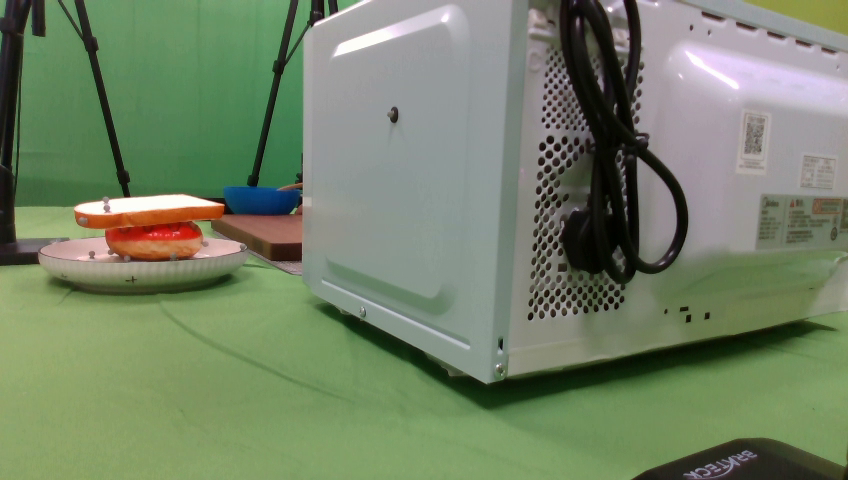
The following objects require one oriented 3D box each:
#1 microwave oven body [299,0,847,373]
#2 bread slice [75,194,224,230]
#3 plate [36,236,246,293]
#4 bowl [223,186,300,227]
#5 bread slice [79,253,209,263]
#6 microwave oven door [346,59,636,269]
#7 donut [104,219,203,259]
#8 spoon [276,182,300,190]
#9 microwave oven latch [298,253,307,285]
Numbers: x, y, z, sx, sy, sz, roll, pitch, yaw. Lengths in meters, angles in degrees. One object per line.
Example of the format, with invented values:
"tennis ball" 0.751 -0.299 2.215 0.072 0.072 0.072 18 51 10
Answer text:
"microwave oven body" 0.151 -0.055 0.542 0.444 0.260 0.324 -2 7 -33
"bread slice" -0.301 -0.032 0.659 0.106 0.018 0.135 10 17 41
"plate" -0.305 0.026 0.668 0.208 0.039 0.207 2 7 0
"bowl" -0.331 -0.068 1.231 0.151 0.077 0.151 3 7 0
"bread slice" -0.302 0.027 0.662 0.132 0.019 0.104 -4 8 -45
"microwave oven door" 0.086 -0.089 0.750 0.357 0.243 0.039 1 8 -10
"donut" -0.297 -0.003 0.669 0.099 0.048 0.099 3 -1 0
"spoon" -0.301 -0.102 1.267 0.194 0.021 0.041 -23 8 -23
"microwave oven latch" -0.081 0.027 0.582 0.079 0.029 0.030 -1 7 -32
